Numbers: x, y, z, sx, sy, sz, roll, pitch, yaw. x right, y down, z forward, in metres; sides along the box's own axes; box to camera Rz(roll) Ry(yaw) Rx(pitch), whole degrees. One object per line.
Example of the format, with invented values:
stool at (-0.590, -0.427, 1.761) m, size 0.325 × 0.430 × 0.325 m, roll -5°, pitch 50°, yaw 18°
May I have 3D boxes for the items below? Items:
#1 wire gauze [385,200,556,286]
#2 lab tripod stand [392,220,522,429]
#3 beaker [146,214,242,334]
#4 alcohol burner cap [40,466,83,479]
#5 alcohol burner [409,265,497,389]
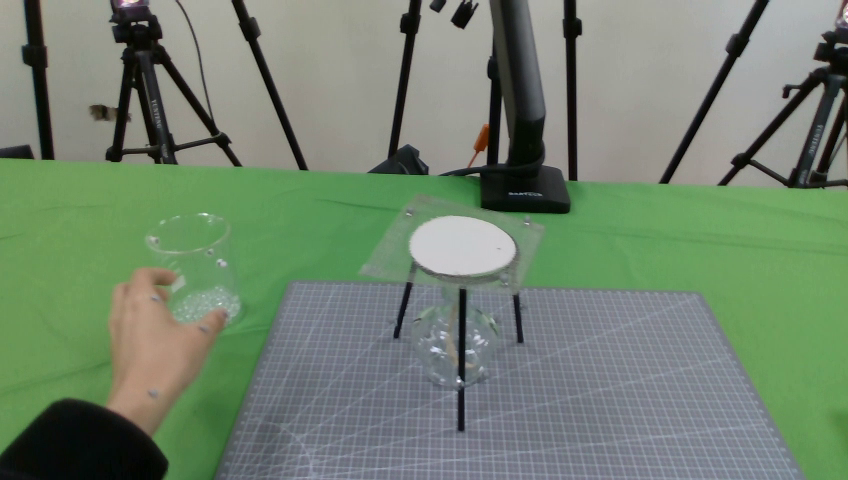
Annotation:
wire gauze at (0.034, -0.004, 0.470) m, size 0.125 × 0.011 × 0.120 m, roll 7°, pitch 27°, yaw -5°
lab tripod stand at (0.033, 0.063, 0.520) m, size 0.148 × 0.132 × 0.147 m, roll 2°, pitch 34°, yaw -1°
beaker at (-0.220, 0.034, 0.594) m, size 0.074 × 0.101 × 0.083 m, roll 9°, pitch 33°, yaw 11°
alcohol burner cap at (-0.250, 0.178, 0.420) m, size 0.034 × 0.048 × 0.033 m, roll 1°, pitch 32°, yaw 0°
alcohol burner at (0.026, 0.071, 0.526) m, size 0.078 × 0.120 × 0.077 m, roll 2°, pitch 32°, yaw -1°
